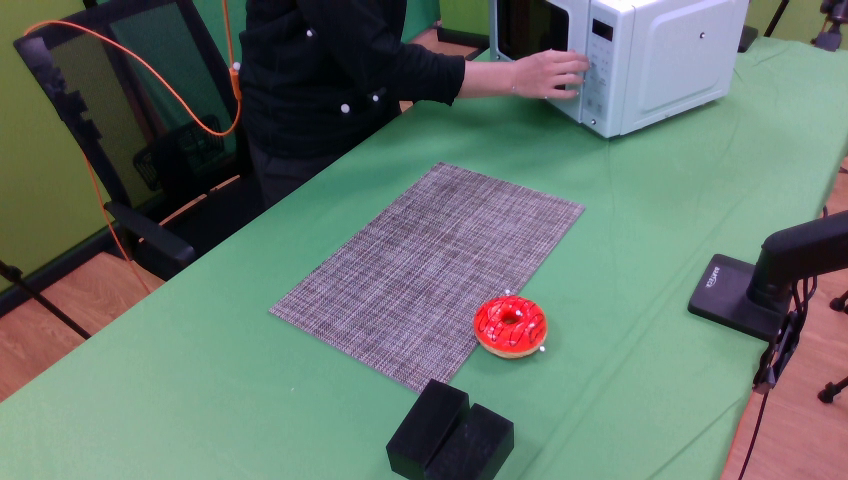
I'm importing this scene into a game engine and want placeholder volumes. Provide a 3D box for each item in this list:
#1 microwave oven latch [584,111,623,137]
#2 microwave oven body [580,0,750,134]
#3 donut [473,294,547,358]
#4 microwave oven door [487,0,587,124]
[{"bbox_3d":[0.337,-0.222,1.142,0.030,0.029,0.078,-21,42,-15],"label":"microwave oven latch"},{"bbox_3d":[0.382,-0.445,1.246,0.327,0.261,0.437,-22,42,-16],"label":"microwave oven body"},{"bbox_3d":[0.114,0.114,0.803,0.099,0.048,0.098,0,40,1],"label":"donut"},{"bbox_3d":[0.229,-0.419,1.230,0.039,0.245,0.352,-21,42,-15],"label":"microwave oven door"}]
